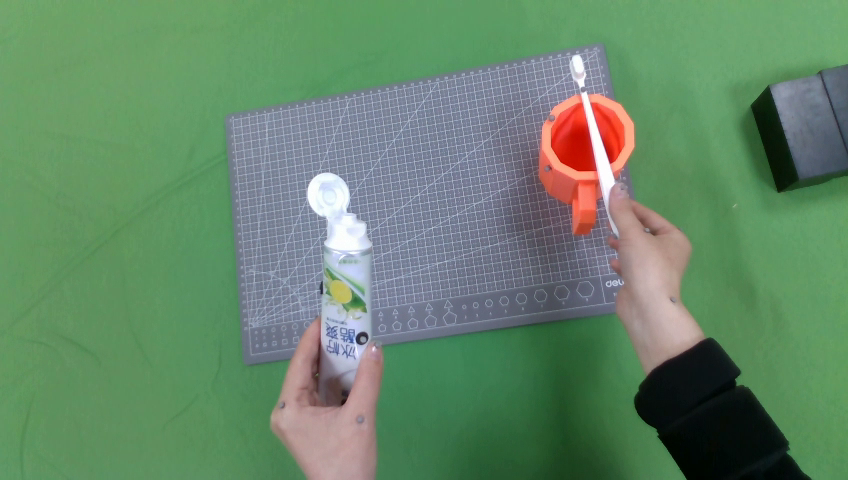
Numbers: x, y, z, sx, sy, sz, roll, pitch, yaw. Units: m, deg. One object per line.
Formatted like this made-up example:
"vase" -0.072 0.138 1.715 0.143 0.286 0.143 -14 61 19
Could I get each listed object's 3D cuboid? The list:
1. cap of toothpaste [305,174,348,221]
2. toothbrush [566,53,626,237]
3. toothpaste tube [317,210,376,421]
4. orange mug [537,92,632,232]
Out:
"cap of toothpaste" -0.070 -0.032 0.447 0.037 0.011 0.037 4 83 -35
"toothbrush" 0.160 -0.090 0.561 0.014 0.017 0.181 -12 79 3
"toothpaste tube" -0.060 0.058 0.456 0.054 0.034 0.166 10 108 28
"orange mug" 0.159 -0.074 0.612 0.083 0.101 0.125 -1 75 8
